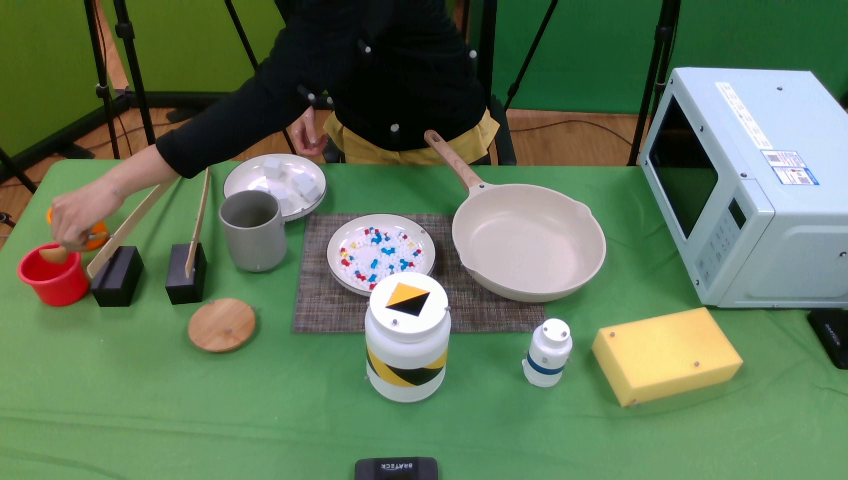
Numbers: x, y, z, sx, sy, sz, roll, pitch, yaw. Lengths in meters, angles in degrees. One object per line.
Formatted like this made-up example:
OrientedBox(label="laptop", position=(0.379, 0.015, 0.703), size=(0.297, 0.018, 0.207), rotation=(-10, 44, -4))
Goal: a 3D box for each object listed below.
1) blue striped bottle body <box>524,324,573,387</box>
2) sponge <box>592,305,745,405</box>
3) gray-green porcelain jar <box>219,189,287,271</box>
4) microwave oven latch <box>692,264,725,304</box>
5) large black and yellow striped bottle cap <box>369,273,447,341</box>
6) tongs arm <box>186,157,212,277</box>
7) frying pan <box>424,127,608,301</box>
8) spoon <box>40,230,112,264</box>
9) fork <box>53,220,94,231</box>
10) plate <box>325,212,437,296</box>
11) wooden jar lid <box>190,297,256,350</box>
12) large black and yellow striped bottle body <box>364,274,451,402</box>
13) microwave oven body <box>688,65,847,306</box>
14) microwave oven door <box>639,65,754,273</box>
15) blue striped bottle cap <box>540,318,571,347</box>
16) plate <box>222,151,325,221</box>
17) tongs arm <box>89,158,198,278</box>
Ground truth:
OrientedBox(label="blue striped bottle body", position=(0.200, 0.178, 0.970), size=(0.063, 0.121, 0.062), rotation=(2, 46, -2))
OrientedBox(label="sponge", position=(0.405, 0.190, 1.014), size=(0.207, 0.061, 0.117), rotation=(-10, 48, -12))
OrientedBox(label="gray-green porcelain jar", position=(-0.309, -0.014, 1.113), size=(0.106, 0.127, 0.105), rotation=(2, 46, -2))
OrientedBox(label="microwave oven latch", position=(0.522, 0.081, 1.116), size=(0.030, 0.029, 0.078), rotation=(1, 46, -2))
OrientedBox(label="large black and yellow striped bottle cap", position=(-0.023, 0.094, 0.875), size=(0.115, 0.019, 0.114), rotation=(2, 45, -2))
OrientedBox(label="tongs arm", position=(-0.445, -0.058, 1.168), size=(0.051, 0.026, 0.382), rotation=(-5, 37, -6))
OrientedBox(label="frying pan", position=(0.143, -0.070, 1.209), size=(0.307, 0.103, 0.485), rotation=(-23, 61, -25))
OrientedBox(label="spoon", position=(-0.556, 0.008, 0.968), size=(0.193, 0.042, 0.021), rotation=(-18, 43, 30))
OrientedBox(label="fork", position=(-0.627, -0.027, 1.086), size=(0.028, 0.207, 0.018), rotation=(1, 91, -15))
OrientedBox(label="plate", position=(-0.080, 0.030, 1.143), size=(0.209, 0.038, 0.208), rotation=(3, 46, -2))
OrientedBox(label="wooden jar lid", position=(-0.342, 0.145, 1.033), size=(0.108, 0.021, 0.107), rotation=(2, 45, -2))
OrientedBox(label="large black and yellow striped bottle body", position=(-0.026, 0.151, 0.937), size=(0.131, 0.185, 0.130), rotation=(2, 47, -2))
OrientedBox(label="microwave oven body", position=(0.669, -0.111, 1.176), size=(0.326, 0.261, 0.439), rotation=(0, 46, -3))
OrientedBox(label="microwave oven door", position=(0.522, -0.147, 1.193), size=(0.039, 0.245, 0.353), rotation=(0, 47, -3))
OrientedBox(label="blue striped bottle cap", position=(0.203, 0.142, 0.933), size=(0.044, 0.021, 0.044), rotation=(3, 49, -3))
OrientedBox(label="plate", position=(-0.310, -0.106, 1.263), size=(0.208, 0.039, 0.206), rotation=(2, 47, -2))
OrientedBox(label="tongs arm", position=(-0.530, -0.057, 1.164), size=(0.028, 0.028, 0.385), rotation=(1, 36, 8))
